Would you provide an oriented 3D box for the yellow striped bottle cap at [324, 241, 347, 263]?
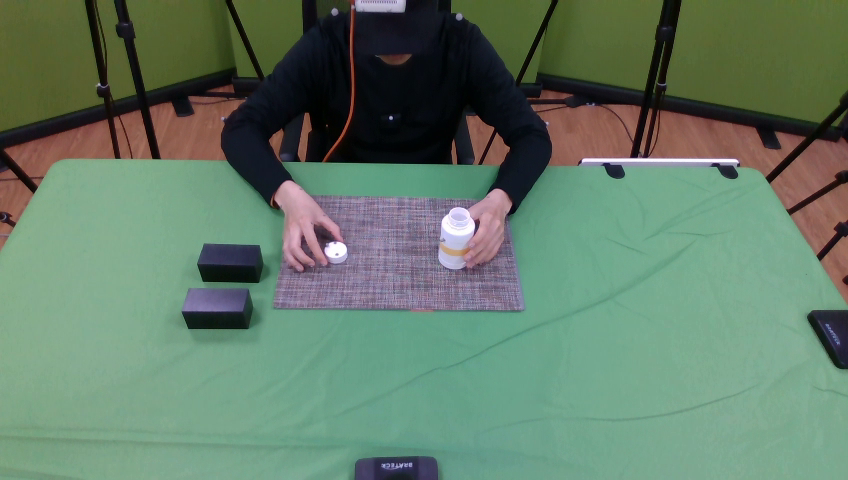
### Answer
[{"bbox_3d":[-0.170,0.022,1.161,0.044,0.019,0.044,0,47,0],"label":"yellow striped bottle cap"}]

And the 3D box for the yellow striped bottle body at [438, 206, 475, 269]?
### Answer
[{"bbox_3d":[0.061,-0.008,1.134,0.063,0.121,0.062,2,46,-2],"label":"yellow striped bottle body"}]
